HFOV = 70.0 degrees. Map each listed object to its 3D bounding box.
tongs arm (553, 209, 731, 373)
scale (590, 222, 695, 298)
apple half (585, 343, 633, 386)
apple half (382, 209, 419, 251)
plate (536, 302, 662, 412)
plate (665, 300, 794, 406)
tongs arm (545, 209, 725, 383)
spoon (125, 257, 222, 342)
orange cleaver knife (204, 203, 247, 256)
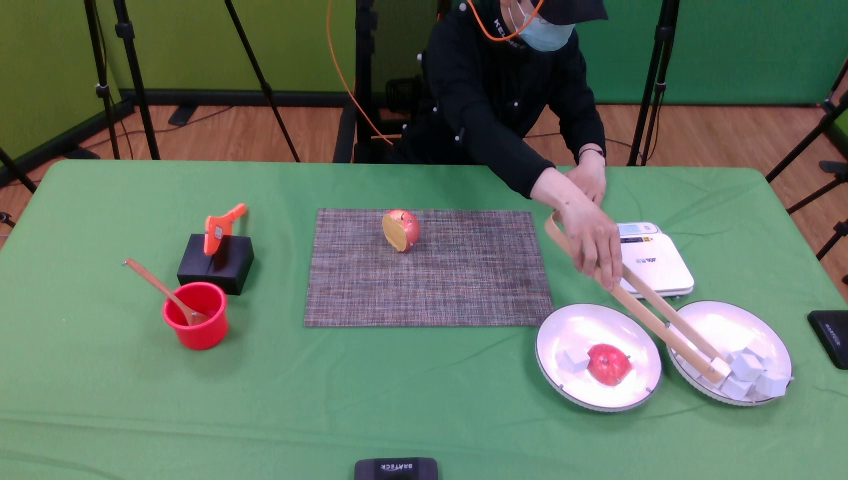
[{"bbox_3d":[0.368,0.081,1.049,0.028,0.028,0.386,-31,69,-38],"label":"tongs arm"},{"bbox_3d":[0.424,0.031,1.189,0.149,0.032,0.199,-3,46,-7],"label":"scale"},{"bbox_3d":[0.309,0.198,1.008,0.081,0.033,0.081,4,48,-4],"label":"apple half"},{"bbox_3d":[-0.039,-0.022,1.175,0.053,0.075,0.080,-27,49,-31],"label":"apple half"},{"bbox_3d":[0.288,0.197,1.016,0.209,0.038,0.208,2,46,-2],"label":"plate"},{"bbox_3d":[0.513,0.194,1.033,0.208,0.039,0.206,2,46,-2],"label":"plate"},{"bbox_3d":[0.352,0.089,1.033,0.383,0.026,0.051,43,46,13],"label":"tongs arm"},{"bbox_3d":[-0.408,0.096,0.990,0.194,0.021,0.041,50,54,-19],"label":"spoon"},{"bbox_3d":[-0.374,-0.024,1.146,0.012,0.077,0.211,4,14,1],"label":"orange cleaver knife"}]
